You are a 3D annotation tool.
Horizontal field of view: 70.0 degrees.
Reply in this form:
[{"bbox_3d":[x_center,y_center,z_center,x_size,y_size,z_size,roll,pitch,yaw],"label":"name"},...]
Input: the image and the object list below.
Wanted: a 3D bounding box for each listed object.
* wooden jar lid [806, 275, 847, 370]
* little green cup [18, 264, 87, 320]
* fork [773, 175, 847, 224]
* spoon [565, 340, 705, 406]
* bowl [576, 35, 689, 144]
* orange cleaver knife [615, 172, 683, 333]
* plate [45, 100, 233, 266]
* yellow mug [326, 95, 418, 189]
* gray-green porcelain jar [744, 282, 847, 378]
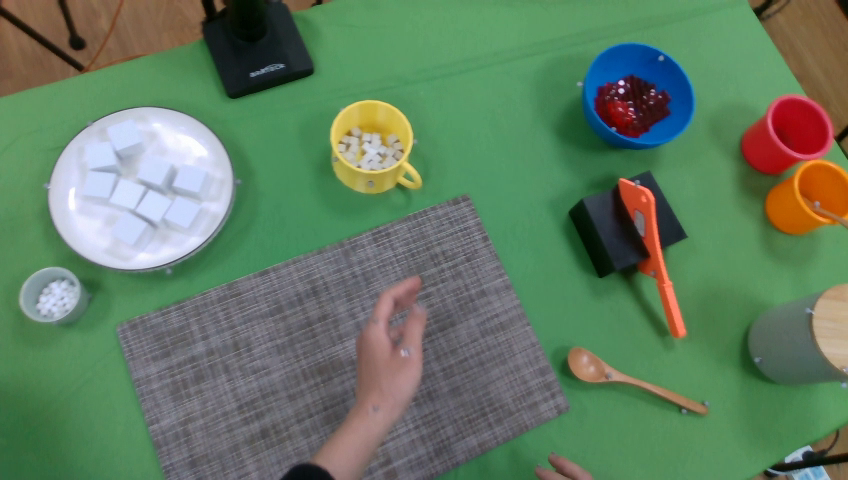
[{"bbox_3d":[0.475,0.094,0.677,0.108,0.021,0.108,2,74,-5],"label":"wooden jar lid"},{"bbox_3d":[-0.411,0.061,0.676,0.062,0.039,0.061,3,74,-8],"label":"little green cup"},{"bbox_3d":[0.523,-0.033,0.775,0.028,0.019,0.205,-8,31,-8],"label":"fork"},{"bbox_3d":[0.261,0.170,0.747,0.194,0.022,0.041,20,54,-2],"label":"spoon"},{"bbox_3d":[0.270,-0.190,0.823,0.152,0.077,0.150,2,74,-7],"label":"bowl"},{"bbox_3d":[0.281,0.015,0.763,0.012,0.077,0.212,-21,101,-9],"label":"orange cleaver knife"},{"bbox_3d":[-0.334,-0.066,0.726,0.208,0.039,0.206,2,74,-7],"label":"plate"},{"bbox_3d":[-0.060,-0.113,0.762,0.130,0.064,0.099,37,72,3],"label":"yellow mug"},{"bbox_3d":[0.467,0.113,0.738,0.106,0.127,0.105,2,73,-7],"label":"gray-green porcelain jar"}]
